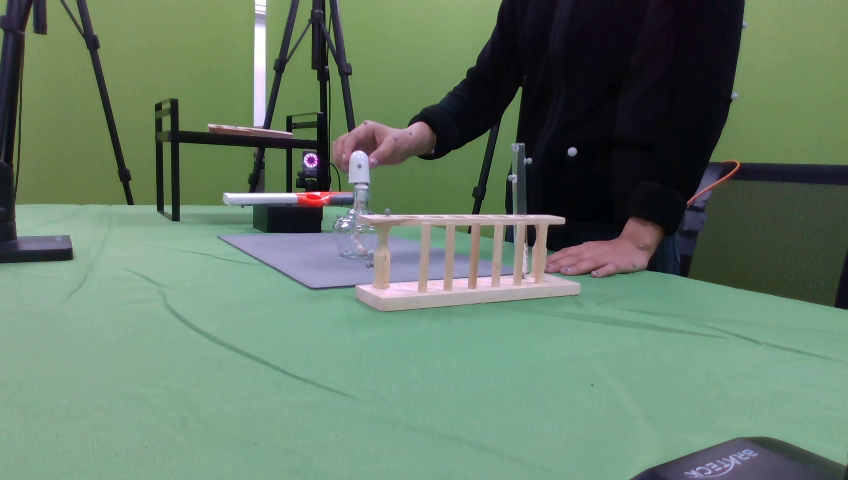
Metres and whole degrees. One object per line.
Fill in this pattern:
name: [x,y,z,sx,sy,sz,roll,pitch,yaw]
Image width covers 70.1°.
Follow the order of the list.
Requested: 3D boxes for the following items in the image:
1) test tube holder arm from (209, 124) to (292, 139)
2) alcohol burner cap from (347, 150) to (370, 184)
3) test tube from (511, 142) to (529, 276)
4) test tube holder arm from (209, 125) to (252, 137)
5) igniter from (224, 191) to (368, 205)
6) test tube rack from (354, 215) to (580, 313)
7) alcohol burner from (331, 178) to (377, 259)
test tube holder arm: [-0.381,-0.239,1.334,0.179,0.015,0.013,1,41,-29]
alcohol burner cap: [-0.093,-0.103,0.849,0.034,0.048,0.034,-3,4,1]
test tube: [0.108,-0.034,0.678,0.017,0.150,0.017,-3,7,1]
test tube holder arm: [-0.419,-0.236,1.309,0.088,0.015,0.010,1,41,-28]
igniter: [-0.237,-0.079,1.157,0.278,0.025,0.057,-3,21,-31]
test tube rack: [0.053,0.019,0.635,0.243,0.085,0.066,-1,8,-29]
alcohol burner: [-0.091,-0.033,0.855,0.078,0.119,0.078,4,7,0]
